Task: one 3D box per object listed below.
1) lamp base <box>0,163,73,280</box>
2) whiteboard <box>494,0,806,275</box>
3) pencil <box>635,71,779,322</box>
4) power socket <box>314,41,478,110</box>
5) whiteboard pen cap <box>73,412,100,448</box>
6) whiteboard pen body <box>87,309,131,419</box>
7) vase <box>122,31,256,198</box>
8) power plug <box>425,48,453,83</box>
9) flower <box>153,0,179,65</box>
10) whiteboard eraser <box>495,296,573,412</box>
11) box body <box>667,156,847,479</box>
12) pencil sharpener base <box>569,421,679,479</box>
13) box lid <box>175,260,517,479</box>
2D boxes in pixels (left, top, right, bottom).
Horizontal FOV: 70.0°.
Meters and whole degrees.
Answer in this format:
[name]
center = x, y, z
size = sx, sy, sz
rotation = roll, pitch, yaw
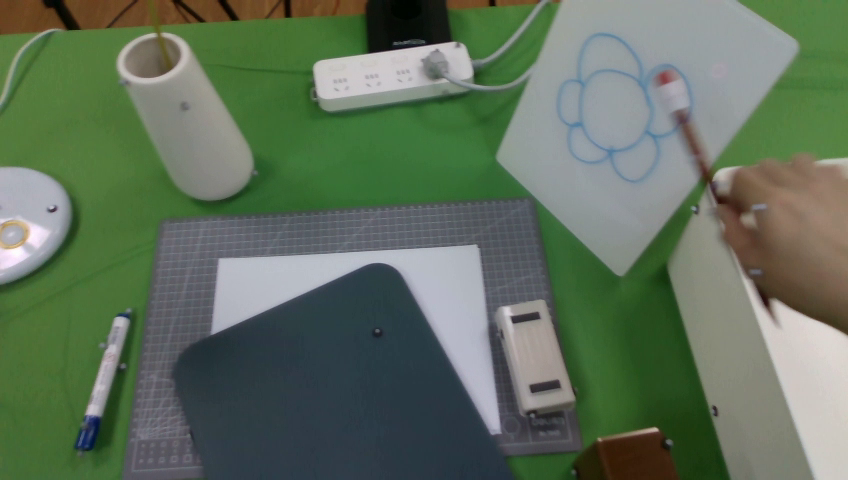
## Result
[lamp base]
center = -0.508, -0.066, 0.647
size = 0.178, 0.182, 0.160
rotation = 26, 64, 17
[whiteboard]
center = 0.244, -0.151, 0.656
size = 0.144, 0.307, 0.215
rotation = -25, 62, -34
[pencil]
center = 0.195, -0.029, 0.414
size = 0.012, 0.012, 0.194
rotation = -29, 90, -14
[power socket]
center = -0.037, -0.223, 0.816
size = 0.227, 0.033, 0.071
rotation = -9, 62, -5
[whiteboard pen cap]
center = -0.331, 0.186, 0.595
size = 0.018, 0.018, 0.033
rotation = 1, 56, 1
[whiteboard pen body]
center = -0.328, 0.136, 0.626
size = 0.017, 0.017, 0.139
rotation = 0, 58, 1
[vase]
center = -0.257, -0.132, 0.673
size = 0.098, 0.201, 0.097
rotation = -1, 61, 2
[power plug]
center = 0.019, -0.217, 0.786
size = 0.035, 0.053, 0.072
rotation = 0, 63, 1
[flower]
center = -0.253, -0.188, 0.609
size = 0.038, 0.365, 0.043
rotation = -14, 44, -15
[whiteboard eraser]
center = 0.112, 0.116, 0.623
size = 0.056, 0.042, 0.111
rotation = -8, 62, -6
[box body]
center = 0.402, 0.116, 0.556
size = 0.254, 0.161, 0.360
rotation = -4, 62, -2
[pencil sharpener base]
center = 0.176, 0.213, 0.536
size = 0.061, 0.108, 0.076
rotation = -8, 62, -4
[box lid]
center = -0.071, 0.208, 0.593
size = 0.263, 0.015, 0.368
rotation = -25, 65, -13
